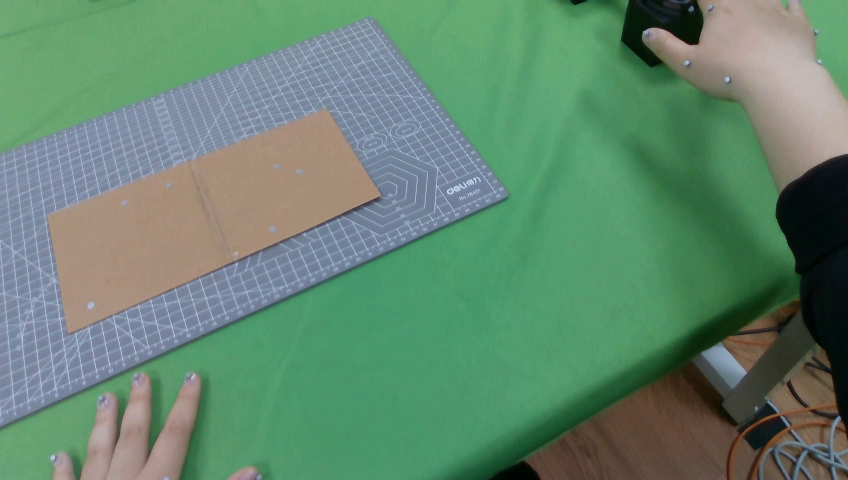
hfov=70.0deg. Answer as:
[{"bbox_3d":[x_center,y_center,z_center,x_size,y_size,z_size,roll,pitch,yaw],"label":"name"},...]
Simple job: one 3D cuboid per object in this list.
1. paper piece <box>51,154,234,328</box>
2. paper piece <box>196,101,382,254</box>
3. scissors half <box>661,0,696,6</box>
[{"bbox_3d":[-0.244,-0.007,0.518,0.138,0.009,0.134,-25,53,-10],"label":"paper piece"},{"bbox_3d":[-0.125,-0.063,0.544,0.135,0.004,0.134,-25,56,-10],"label":"paper piece"},{"bbox_3d":[0.215,-0.281,0.599,0.040,0.013,0.173,-15,54,-5],"label":"scissors half"}]
